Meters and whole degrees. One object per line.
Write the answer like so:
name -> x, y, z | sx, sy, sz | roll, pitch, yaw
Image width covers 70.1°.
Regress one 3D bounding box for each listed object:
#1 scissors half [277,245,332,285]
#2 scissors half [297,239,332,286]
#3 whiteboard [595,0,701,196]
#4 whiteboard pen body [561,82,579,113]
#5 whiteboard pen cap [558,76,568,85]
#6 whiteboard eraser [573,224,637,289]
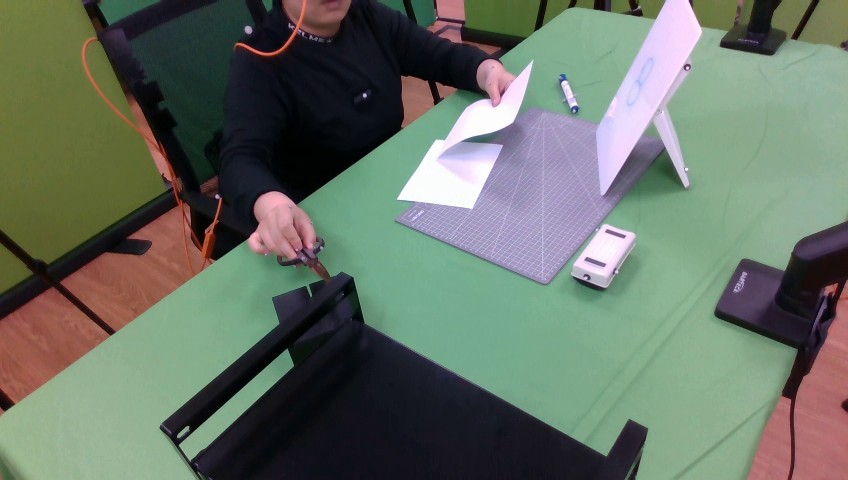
scissors half -> -0.169, 0.038, 0.856 | 0.040, 0.013, 0.173 | -29, 28, -25
scissors half -> -0.151, 0.031, 0.863 | 0.040, 0.013, 0.174 | -17, 24, -13
whiteboard -> 0.420, -0.227, 1.010 | 0.144, 0.305, 0.216 | 18, 42, -2
whiteboard pen body -> 0.310, -0.311, 1.298 | 0.017, 0.017, 0.140 | -6, 41, 2
whiteboard pen cap -> 0.309, -0.350, 1.340 | 0.018, 0.018, 0.033 | -6, 41, 2
whiteboard eraser -> 0.267, 0.025, 0.891 | 0.055, 0.042, 0.113 | 19, 47, 31
